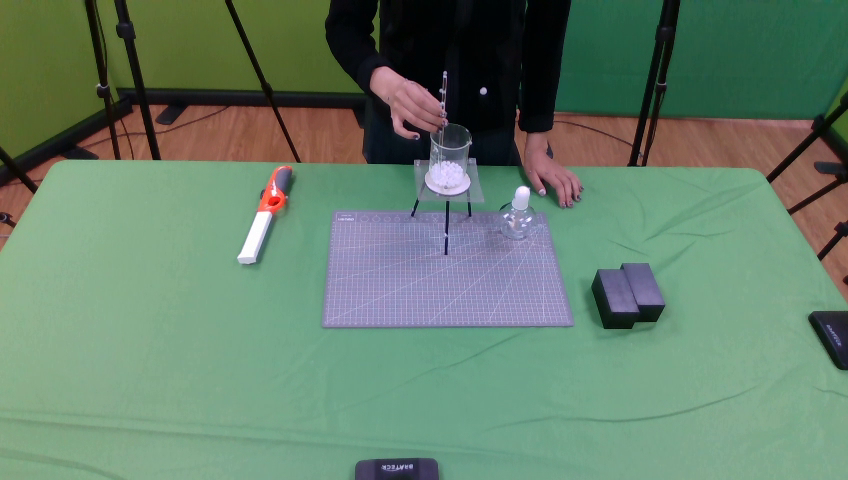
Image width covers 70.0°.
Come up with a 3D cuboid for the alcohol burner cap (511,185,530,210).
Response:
[{"bbox_3d":[0.190,-0.086,1.176,0.034,0.048,0.033,3,50,-3],"label":"alcohol burner cap"}]

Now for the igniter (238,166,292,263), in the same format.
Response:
[{"bbox_3d":[-0.318,-0.060,1.229,0.057,0.025,0.275,-2,45,10],"label":"igniter"}]

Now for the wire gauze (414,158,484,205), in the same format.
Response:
[{"bbox_3d":[0.045,-0.113,1.137,0.125,0.011,0.120,1,48,-6],"label":"wire gauze"}]

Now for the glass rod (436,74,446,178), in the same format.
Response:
[{"bbox_3d":[0.028,-0.192,1.050,0.008,0.200,0.008,2,39,-2],"label":"glass rod"}]

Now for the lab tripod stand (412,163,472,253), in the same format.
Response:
[{"bbox_3d":[0.043,-0.070,1.187,0.148,0.132,0.147,3,47,-3],"label":"lab tripod stand"}]

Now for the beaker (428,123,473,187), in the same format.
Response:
[{"bbox_3d":[0.044,-0.154,1.109,0.074,0.101,0.083,-25,54,-25],"label":"beaker"}]

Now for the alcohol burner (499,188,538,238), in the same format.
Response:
[{"bbox_3d":[0.189,-0.060,1.202,0.078,0.120,0.077,1,48,-1],"label":"alcohol burner"}]
